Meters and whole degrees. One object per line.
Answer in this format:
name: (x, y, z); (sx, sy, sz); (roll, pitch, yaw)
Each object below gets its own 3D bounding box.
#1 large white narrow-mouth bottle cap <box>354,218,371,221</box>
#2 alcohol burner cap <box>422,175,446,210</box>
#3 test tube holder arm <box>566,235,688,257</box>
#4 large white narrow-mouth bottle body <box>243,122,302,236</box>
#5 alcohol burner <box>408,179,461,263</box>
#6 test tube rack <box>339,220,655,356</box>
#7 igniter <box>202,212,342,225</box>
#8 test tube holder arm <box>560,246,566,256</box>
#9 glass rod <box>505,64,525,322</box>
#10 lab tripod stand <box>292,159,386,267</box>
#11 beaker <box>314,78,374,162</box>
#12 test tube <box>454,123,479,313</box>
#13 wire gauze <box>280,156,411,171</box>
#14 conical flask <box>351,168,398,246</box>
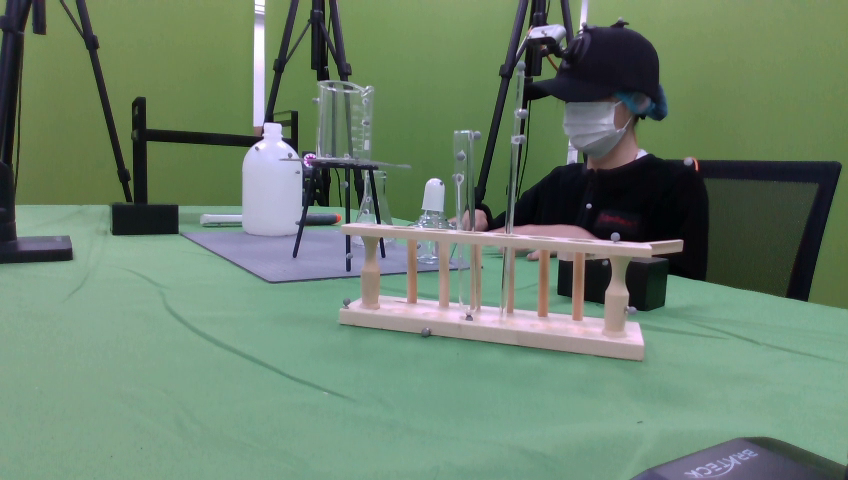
large white narrow-mouth bottle cap: (-0.120, -0.029, 1.184); (0.038, 0.024, 0.037); (2, 8, 0)
alcohol burner cap: (0.016, -0.065, 0.830); (0.034, 0.048, 0.034); (7, 4, 0)
test tube holder arm: (0.215, 0.006, 0.629); (0.179, 0.015, 0.013); (-3, 9, -30)
large white narrow-mouth bottle body: (-0.264, -0.109, 1.061); (0.102, 0.194, 0.102); (2, 8, 0)
alcohol burner: (0.014, -0.029, 0.834); (0.078, 0.119, 0.078); (0, 6, 0)
test tube rack: (0.056, 0.032, 0.495); (0.242, 0.085, 0.067); (4, 7, 15)
igniter: (-0.298, -0.044, 1.216); (0.278, 0.025, 0.057); (-3, -2, -32)
test tube holder arm: (0.173, 0.007, 0.611); (0.088, 0.015, 0.010); (-3, 9, -30)
glass rod: (0.069, -0.030, 0.458); (0.008, 0.199, 0.008); (0, 15, 0)
lab tripod stand: (-0.105, -0.039, 0.797); (0.148, 0.131, 0.148); (2, 5, 0)
beaker: (-0.101, -0.151, 0.775); (0.074, 0.100, 0.083); (-2, 8, -39)
test tube: (0.034, -0.016, 0.477); (0.017, 0.150, 0.017); (-2, 9, 1)
wire gauze: (-0.103, -0.103, 0.785); (0.121, 0.011, 0.126); (11, 8, 42)
conical flask: (-0.078, -0.053, 0.962); (0.075, 0.122, 0.075); (2, 7, 0)
